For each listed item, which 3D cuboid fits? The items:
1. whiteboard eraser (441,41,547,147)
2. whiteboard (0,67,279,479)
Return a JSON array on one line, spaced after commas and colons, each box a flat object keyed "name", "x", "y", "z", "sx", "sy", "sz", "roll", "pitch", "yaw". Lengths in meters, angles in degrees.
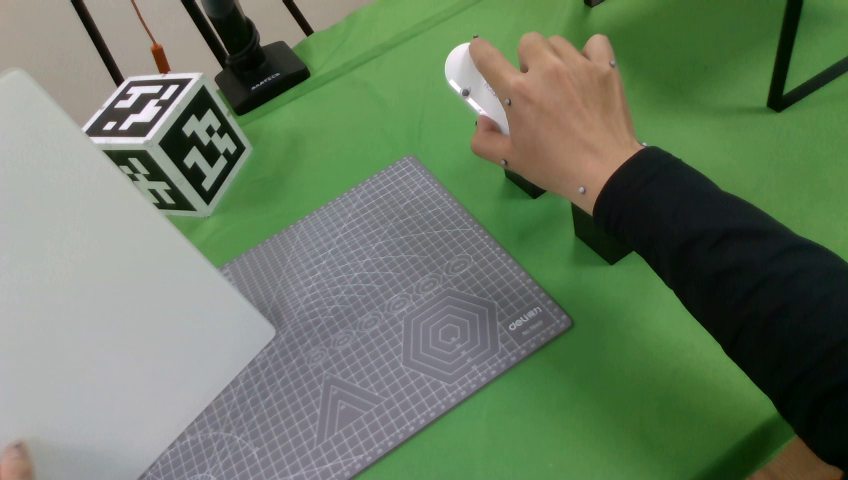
[{"name": "whiteboard eraser", "x": 0.055, "y": -0.116, "z": 0.484, "sx": 0.101, "sy": 0.019, "sz": 0.041, "roll": 44, "pitch": 94, "yaw": 0}, {"name": "whiteboard", "x": -0.321, "y": 0.048, "z": 0.519, "sx": 0.217, "sy": 0.308, "sz": 0.142, "roll": -48, "pitch": 33, "yaw": -20}]
